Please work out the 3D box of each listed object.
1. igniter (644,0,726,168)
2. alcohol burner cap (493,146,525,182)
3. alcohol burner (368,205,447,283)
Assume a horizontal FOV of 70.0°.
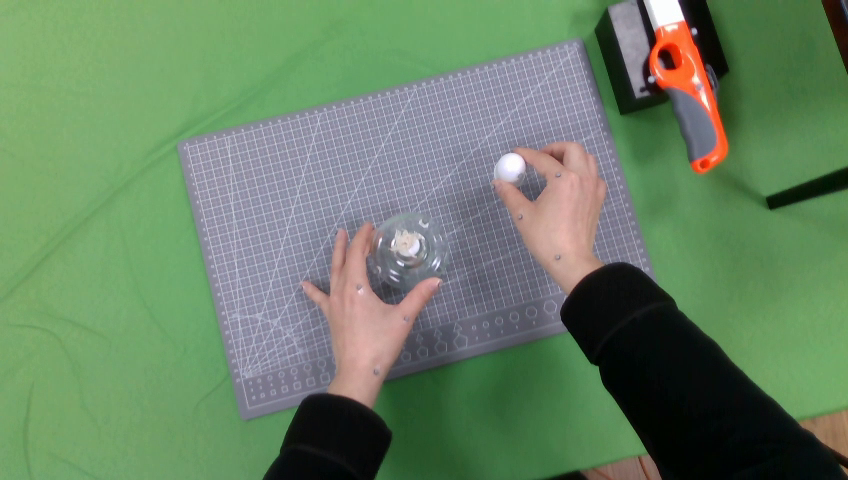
[{"bbox_3d":[0.244,-0.205,0.600,0.057,0.025,0.275,-14,83,0],"label":"igniter"},{"bbox_3d":[0.084,-0.076,0.591,0.034,0.048,0.034,0,87,4],"label":"alcohol burner cap"},{"bbox_3d":[-0.016,0.003,0.580,0.078,0.119,0.078,0,86,1],"label":"alcohol burner"}]
